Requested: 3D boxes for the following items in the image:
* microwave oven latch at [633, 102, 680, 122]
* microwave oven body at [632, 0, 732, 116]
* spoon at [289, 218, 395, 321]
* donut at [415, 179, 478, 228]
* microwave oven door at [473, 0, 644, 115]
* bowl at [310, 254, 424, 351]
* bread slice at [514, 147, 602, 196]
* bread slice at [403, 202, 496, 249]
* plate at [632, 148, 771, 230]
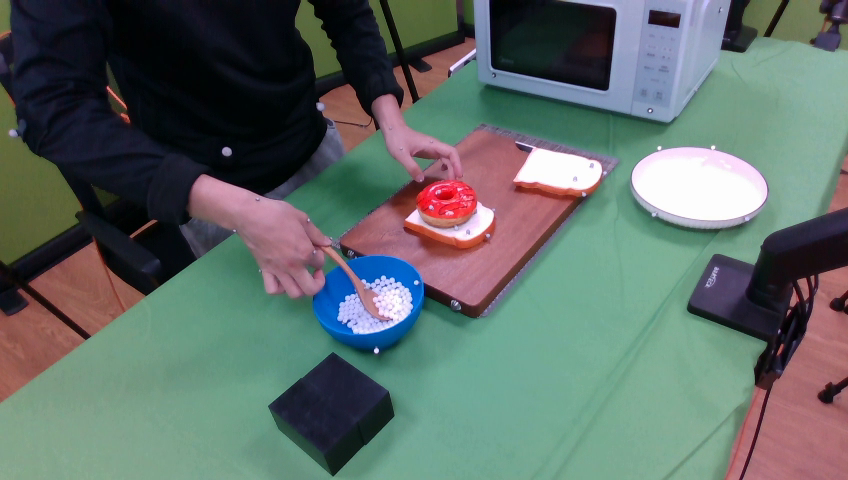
[{"bbox_3d":[0.444,-0.249,1.157,0.078,0.029,0.030,21,49,30],"label":"microwave oven latch"},{"bbox_3d":[0.377,-0.462,1.267,0.438,0.261,0.327,21,49,30],"label":"microwave oven body"},{"bbox_3d":[-0.111,0.038,0.821,0.194,0.021,0.042,49,41,-5],"label":"spoon"},{"bbox_3d":[0.036,-0.058,0.944,0.099,0.048,0.098,-5,40,5],"label":"donut"},{"bbox_3d":[0.257,-0.396,1.199,0.353,0.245,0.039,21,48,29],"label":"microwave oven door"},{"bbox_3d":[-0.071,0.097,0.821,0.151,0.077,0.150,-4,40,4],"label":"bowl"},{"bbox_3d":[0.233,-0.115,1.027,0.133,0.018,0.107,13,45,20],"label":"bread slice"},{"bbox_3d":[0.048,-0.034,0.961,0.130,0.019,0.105,22,49,32],"label":"bread slice"},{"bbox_3d":[0.447,-0.081,0.988,0.207,0.039,0.206,-4,40,4],"label":"plate"}]
